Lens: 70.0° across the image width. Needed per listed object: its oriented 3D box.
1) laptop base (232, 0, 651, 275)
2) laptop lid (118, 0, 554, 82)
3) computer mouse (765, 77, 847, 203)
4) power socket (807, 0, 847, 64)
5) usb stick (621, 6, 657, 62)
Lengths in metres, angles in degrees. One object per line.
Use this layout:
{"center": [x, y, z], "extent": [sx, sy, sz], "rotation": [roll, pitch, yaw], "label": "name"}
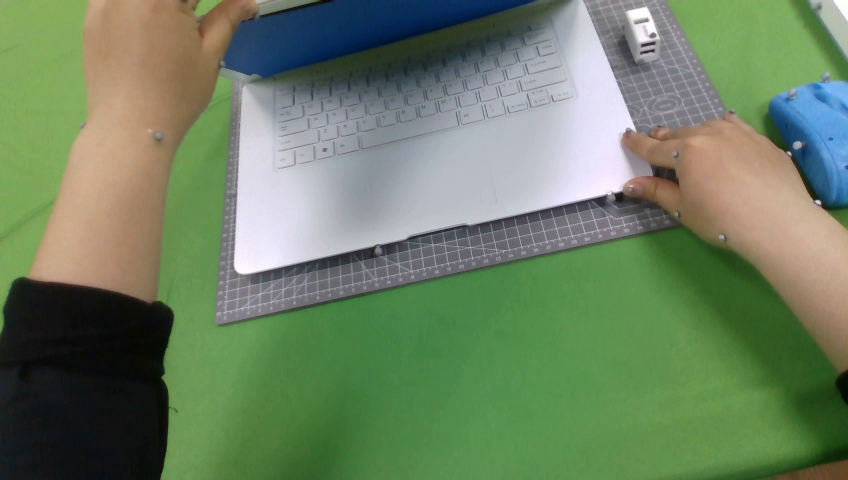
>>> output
{"center": [-0.004, -0.102, 0.555], "extent": [0.354, 0.023, 0.233], "rotation": [-13, 60, 6], "label": "laptop base"}
{"center": [-0.030, -0.185, 0.497], "extent": [0.356, 0.241, 0.013], "rotation": [-12, 99, 8], "label": "laptop lid"}
{"center": [0.308, -0.081, 0.451], "extent": [0.063, 0.041, 0.116], "rotation": [-13, 52, 9], "label": "computer mouse"}
{"center": [0.377, -0.205, 0.513], "extent": [0.072, 0.033, 0.224], "rotation": [-10, 57, 9], "label": "power socket"}
{"center": [0.195, -0.193, 0.554], "extent": [0.021, 0.027, 0.058], "rotation": [-13, 55, 12], "label": "usb stick"}
